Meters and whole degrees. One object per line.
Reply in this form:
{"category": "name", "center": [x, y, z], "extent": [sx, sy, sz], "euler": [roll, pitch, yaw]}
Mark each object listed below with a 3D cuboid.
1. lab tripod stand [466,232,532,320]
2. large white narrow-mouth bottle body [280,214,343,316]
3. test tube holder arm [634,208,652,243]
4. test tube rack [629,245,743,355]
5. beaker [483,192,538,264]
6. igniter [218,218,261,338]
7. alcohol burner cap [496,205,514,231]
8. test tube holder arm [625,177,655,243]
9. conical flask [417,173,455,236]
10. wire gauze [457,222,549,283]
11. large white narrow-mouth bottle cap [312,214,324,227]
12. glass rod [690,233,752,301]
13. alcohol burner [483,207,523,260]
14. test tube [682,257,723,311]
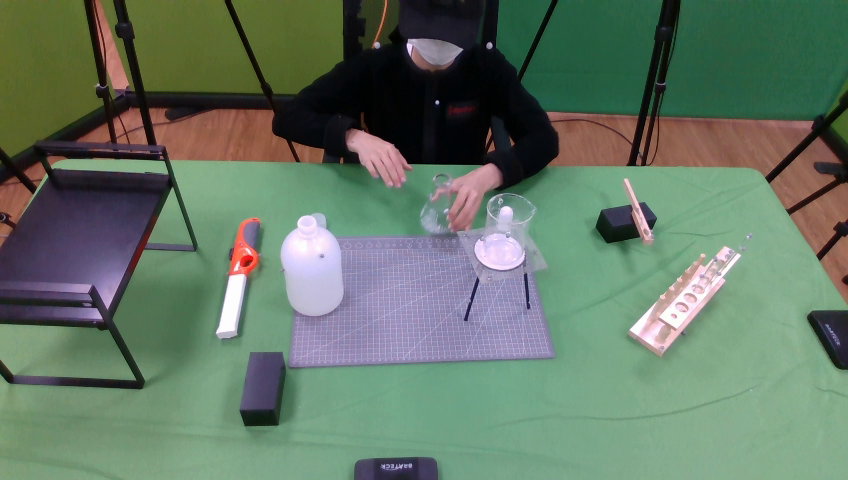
{"category": "lab tripod stand", "center": [0.125, 0.059, 1.065], "extent": [0.148, 0.132, 0.147], "euler": [1, 45, 0]}
{"category": "large white narrow-mouth bottle body", "center": [-0.190, 0.035, 1.025], "extent": [0.102, 0.195, 0.101], "euler": [2, 46, -2]}
{"category": "test tube holder arm", "center": [0.428, -0.030, 1.189], "extent": [0.010, 0.015, 0.087], "euler": [1, 47, -2]}
{"category": "test tube rack", "center": [0.474, 0.095, 1.091], "extent": [0.242, 0.085, 0.066], "euler": [-34, 57, -31]}
{"category": "beaker", "center": [0.136, -0.017, 0.980], "extent": [0.084, 0.101, 0.073], "euler": [-6, 45, -9]}
{"category": "igniter", "center": [-0.336, 0.060, 1.111], "extent": [0.057, 0.025, 0.274], "euler": [-7, 46, 4]}
{"category": "alcohol burner cap", "center": [0.153, -0.044, 1.131], "extent": [0.034, 0.048, 0.033], "euler": [2, 40, -1]}
{"category": "test tube holder arm", "center": [0.433, -0.063, 1.220], "extent": [0.013, 0.015, 0.177], "euler": [1, 47, -3]}
{"category": "conical flask", "center": [0.027, -0.071, 1.152], "extent": [0.075, 0.122, 0.075], "euler": [2, 49, -2]}
{"category": "wire gauze", "center": [0.131, 0.016, 1.017], "extent": [0.121, 0.011, 0.124], "euler": [-10, 44, -15]}
{"category": "large white narrow-mouth bottle cap", "center": [-0.219, -0.033, 1.214], "extent": [0.038, 0.024, 0.037], "euler": [2, 46, -2]}
{"category": "glass rod", "center": [0.507, 0.053, 1.041], "extent": [0.008, 0.200, 0.008], "euler": [5, 51, -6]}
{"category": "alcohol burner", "center": [0.152, -0.018, 1.156], "extent": [0.078, 0.120, 0.077], "euler": [0, 47, 0]}
{"category": "test tube", "center": [0.475, 0.080, 1.037], "extent": [0.017, 0.151, 0.017], "euler": [1, 50, -1]}
